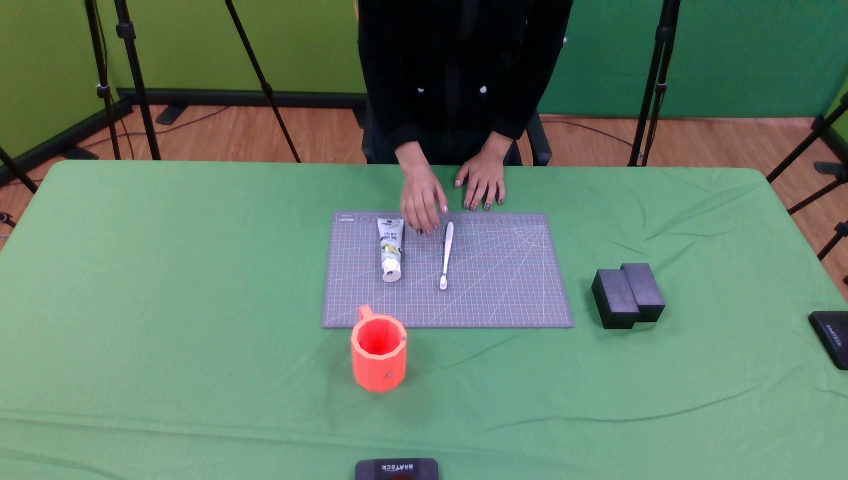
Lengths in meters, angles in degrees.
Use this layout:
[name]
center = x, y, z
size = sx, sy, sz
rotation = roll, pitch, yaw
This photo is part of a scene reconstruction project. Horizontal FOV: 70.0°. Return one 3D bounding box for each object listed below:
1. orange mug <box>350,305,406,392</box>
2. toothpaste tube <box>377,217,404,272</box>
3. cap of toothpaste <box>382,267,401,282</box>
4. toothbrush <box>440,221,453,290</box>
[orange mug]
center = -0.080, 0.168, 0.978
size = 0.083, 0.101, 0.125
rotation = -16, 54, -18
[toothpaste tube]
center = -0.063, 0.008, 1.179
size = 0.055, 0.034, 0.164
rotation = 5, 42, -9
[cap of toothpaste]
center = -0.060, 0.063, 1.119
size = 0.037, 0.037, 0.011
rotation = -9, 50, -12
[toothbrush]
center = 0.044, 0.025, 1.177
size = 0.014, 0.017, 0.181
rotation = -2, 44, 11
